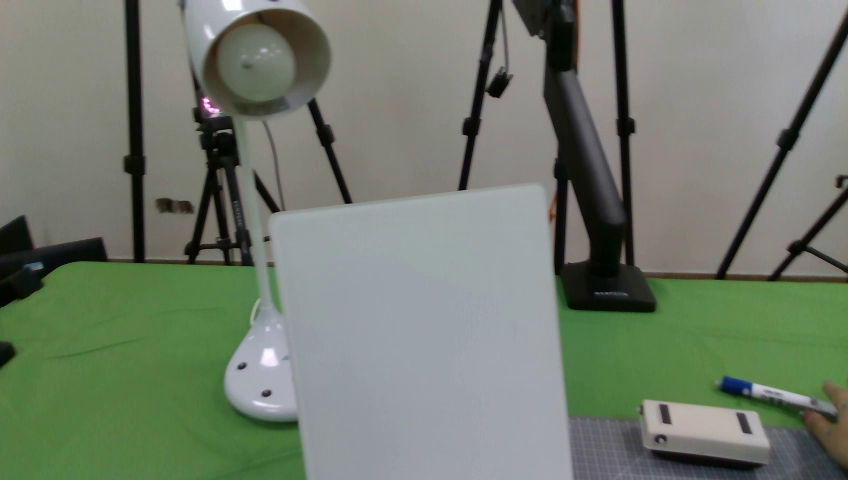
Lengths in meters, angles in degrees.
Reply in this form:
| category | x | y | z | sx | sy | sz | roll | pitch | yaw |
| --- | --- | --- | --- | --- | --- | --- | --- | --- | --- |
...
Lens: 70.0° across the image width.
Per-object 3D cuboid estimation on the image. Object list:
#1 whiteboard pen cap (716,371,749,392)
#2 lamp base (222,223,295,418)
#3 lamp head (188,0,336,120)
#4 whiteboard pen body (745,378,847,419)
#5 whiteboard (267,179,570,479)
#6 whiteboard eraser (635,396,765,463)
| category | x | y | z | sx | sy | sz | roll | pitch | yaw |
| --- | --- | --- | --- | --- | --- | --- | --- | --- | --- |
| whiteboard pen cap | 0.349 | 0.161 | 0.684 | 0.033 | 0.018 | 0.018 | 12 | 28 | 29 |
| lamp base | -0.163 | 0.079 | 0.685 | 0.161 | 0.181 | 0.177 | -22 | 31 | -37 |
| lamp head | -0.150 | -0.179 | 0.521 | 0.113 | 0.113 | 0.121 | -16 | 54 | -28 |
| whiteboard pen body | 0.400 | 0.170 | 0.656 | 0.140 | 0.017 | 0.017 | 12 | 29 | 28 |
| whiteboard | -0.006 | 0.109 | 0.538 | 0.218 | 0.306 | 0.143 | -8 | 7 | -12 |
| whiteboard eraser | 0.269 | 0.187 | 0.598 | 0.112 | 0.042 | 0.055 | 4 | 27 | 11 |
